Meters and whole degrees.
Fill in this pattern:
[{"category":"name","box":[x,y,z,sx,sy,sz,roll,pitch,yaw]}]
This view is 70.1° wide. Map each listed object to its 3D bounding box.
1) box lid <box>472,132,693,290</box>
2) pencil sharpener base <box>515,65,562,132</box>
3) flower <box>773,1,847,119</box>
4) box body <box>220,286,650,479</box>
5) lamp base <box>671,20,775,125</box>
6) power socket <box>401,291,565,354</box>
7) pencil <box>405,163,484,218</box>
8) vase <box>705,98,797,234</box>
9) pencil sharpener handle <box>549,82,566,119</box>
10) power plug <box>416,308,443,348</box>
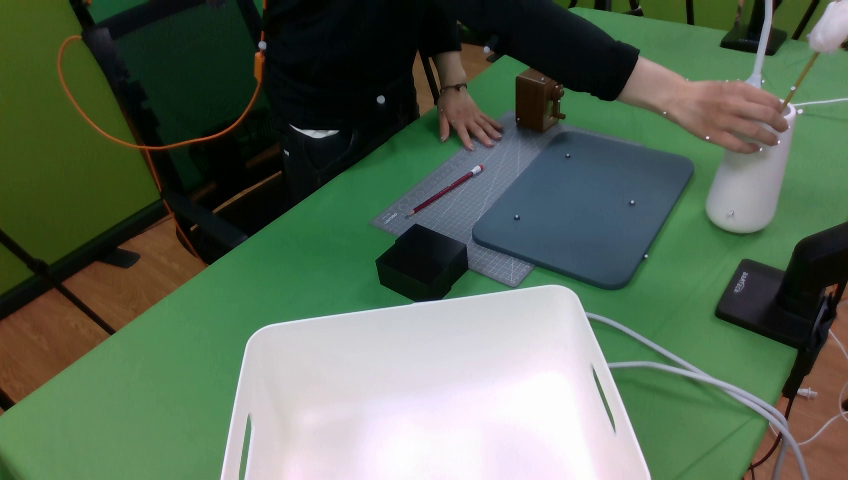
[{"category":"box lid","box":[0.273,-0.068,1.020,0.261,0.015,0.372,20,47,28]},{"category":"pencil sharpener base","box":[0.227,-0.278,1.195,0.076,0.107,0.061,29,52,35]},{"category":"flower","box":[0.473,-0.157,0.823,0.038,0.363,0.044,35,62,22]},{"category":"box body","box":[0.006,0.210,0.618,0.364,0.161,0.252,-8,40,-1]},{"category":"lamp base","box":[0.582,-0.332,1.154,0.179,0.181,0.160,2,42,7]},{"category":"power socket","box":[0.080,0.111,0.823,0.227,0.033,0.072,-5,41,1]},{"category":"pencil","box":[0.038,-0.089,1.079,0.195,0.012,0.012,-36,48,-27]},{"category":"vase","box":[0.480,-0.104,0.889,0.098,0.201,0.097,-4,42,4]},{"category":"pencil sharpener handle","box":[0.261,-0.266,1.157,0.030,0.068,0.036,29,46,35]},{"category":"power plug","box":[0.005,0.121,0.787,0.035,0.053,0.072,2,46,8]}]
